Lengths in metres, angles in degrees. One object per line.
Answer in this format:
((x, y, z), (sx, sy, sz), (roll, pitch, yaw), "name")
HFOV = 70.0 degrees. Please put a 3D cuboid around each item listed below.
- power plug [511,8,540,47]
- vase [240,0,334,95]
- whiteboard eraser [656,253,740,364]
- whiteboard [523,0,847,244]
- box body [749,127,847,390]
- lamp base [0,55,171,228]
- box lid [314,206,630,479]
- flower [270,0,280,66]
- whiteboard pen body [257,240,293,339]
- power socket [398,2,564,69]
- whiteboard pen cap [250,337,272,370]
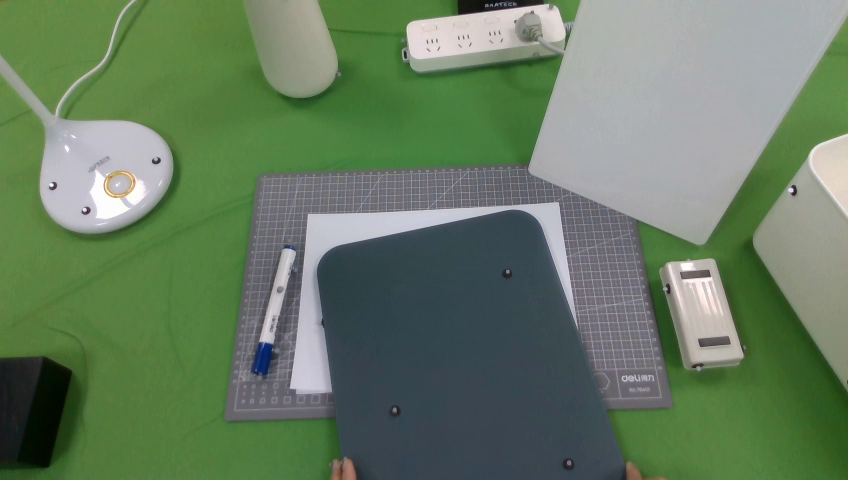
((0.130, -0.266, 0.785), (0.035, 0.053, 0.072), (2, 70, 4), "power plug")
((-0.172, -0.270, 0.732), (0.098, 0.201, 0.097), (-2, 63, 3), "vase")
((0.282, 0.071, 0.628), (0.055, 0.042, 0.111), (-4, 63, 0), "whiteboard eraser")
((0.267, -0.185, 0.645), (0.216, 0.308, 0.143), (27, 47, 16), "whiteboard")
((0.517, 0.060, 0.555), (0.254, 0.161, 0.360), (-19, 64, -7), "box body")
((-0.407, -0.126, 0.680), (0.178, 0.182, 0.160), (28, 67, 19), "lamp base")
((0.036, 0.137, 0.617), (0.263, 0.015, 0.368), (-12, 62, -5), "box lid")
((-0.155, -0.300, 0.655), (0.038, 0.362, 0.044), (45, 64, 4), "flower")
((-0.164, 0.065, 0.658), (0.017, 0.017, 0.140), (5, 66, 6), "whiteboard pen body")
((0.077, -0.276, 0.817), (0.227, 0.033, 0.071), (-7, 64, -1), "power socket")
((-0.170, 0.119, 0.634), (0.018, 0.018, 0.033), (5, 66, 6), "whiteboard pen cap")
